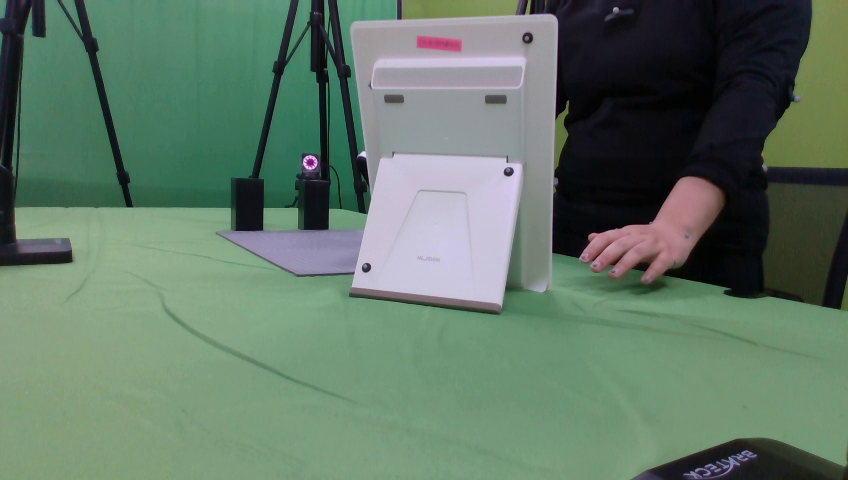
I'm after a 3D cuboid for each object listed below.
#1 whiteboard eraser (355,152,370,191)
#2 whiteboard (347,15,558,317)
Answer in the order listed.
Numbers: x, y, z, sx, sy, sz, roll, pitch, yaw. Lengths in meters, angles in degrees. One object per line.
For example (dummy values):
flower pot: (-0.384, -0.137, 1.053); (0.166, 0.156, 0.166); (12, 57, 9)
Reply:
whiteboard eraser: (-0.073, -0.092, 0.919); (0.041, 0.101, 0.019); (18, 56, 40)
whiteboard: (0.012, -0.056, 0.609); (0.216, 0.305, 0.144); (5, 27, 19)
